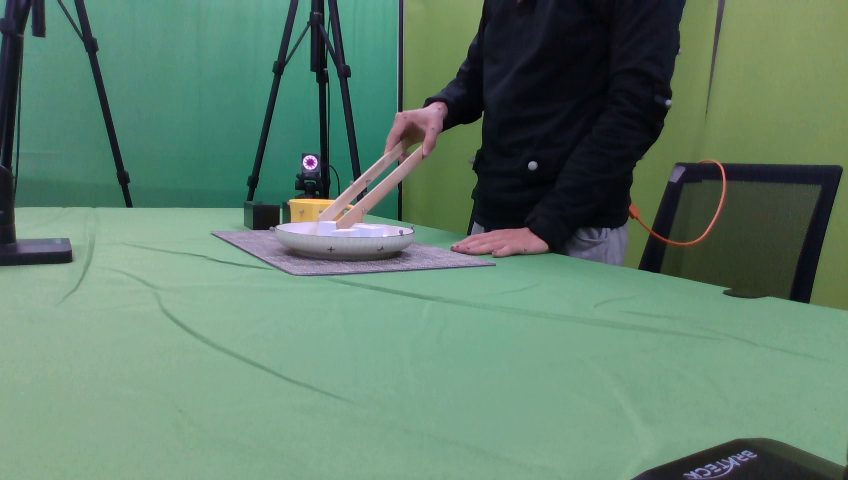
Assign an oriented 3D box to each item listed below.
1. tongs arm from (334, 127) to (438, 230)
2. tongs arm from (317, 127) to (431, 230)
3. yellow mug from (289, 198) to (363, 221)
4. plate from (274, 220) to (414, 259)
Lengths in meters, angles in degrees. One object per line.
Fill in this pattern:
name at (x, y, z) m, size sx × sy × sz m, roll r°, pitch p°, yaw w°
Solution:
tongs arm at (-0.053, -0.119, 1.056) m, size 0.028 × 0.028 × 0.388 m, roll -1°, pitch 29°, yaw 29°
tongs arm at (-0.073, -0.120, 1.067) m, size 0.050 × 0.026 × 0.385 m, roll 0°, pitch 30°, yaw 23°
yellow mug at (-0.174, -0.039, 1.071) m, size 0.131 × 0.064 × 0.100 m, roll 3°, pitch 6°, yaw 0°
plate at (-0.118, -0.001, 0.903) m, size 0.208 × 0.039 × 0.207 m, roll 2°, pitch 7°, yaw 0°
